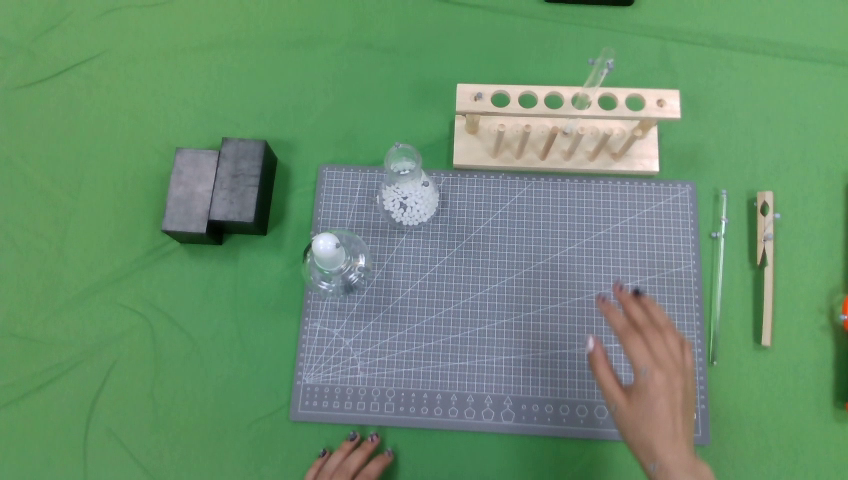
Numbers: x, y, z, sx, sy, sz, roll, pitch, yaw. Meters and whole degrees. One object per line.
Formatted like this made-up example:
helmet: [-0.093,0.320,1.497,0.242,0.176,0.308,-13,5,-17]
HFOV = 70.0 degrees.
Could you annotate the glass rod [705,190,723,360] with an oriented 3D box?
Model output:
glass rod: [0.330,0.037,0.689,0.008,0.008,0.199,9,77,4]

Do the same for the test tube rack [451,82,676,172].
test tube rack: [0.154,-0.129,0.698,0.242,0.085,0.066,2,75,2]

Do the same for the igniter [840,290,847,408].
igniter: [0.491,0.052,0.671,0.057,0.025,0.275,13,76,-5]

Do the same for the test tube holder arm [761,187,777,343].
test tube holder arm: [0.388,0.026,0.684,0.013,0.015,0.177,-8,70,38]

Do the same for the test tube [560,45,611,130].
test tube: [0.172,-0.159,0.655,0.017,0.151,0.017,1,72,-2]

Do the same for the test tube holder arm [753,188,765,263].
test tube holder arm: [0.388,-0.016,0.699,0.010,0.015,0.087,-6,71,39]

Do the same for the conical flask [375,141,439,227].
conical flask: [-0.022,-0.065,0.663,0.075,0.122,0.075,0,74,1]

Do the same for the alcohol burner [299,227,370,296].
alcohol burner: [-0.099,0.018,0.646,0.078,0.120,0.077,-1,73,4]

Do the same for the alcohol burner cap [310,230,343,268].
alcohol burner cap: [-0.100,0.007,0.612,0.034,0.048,0.033,1,71,-2]
